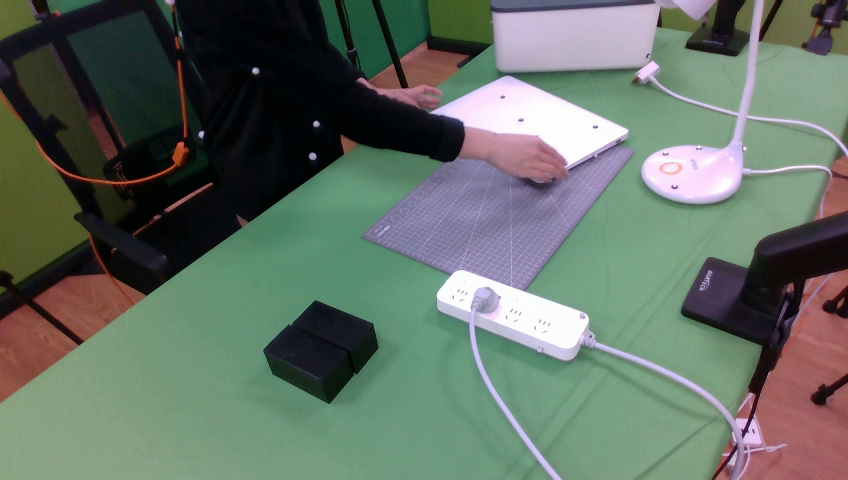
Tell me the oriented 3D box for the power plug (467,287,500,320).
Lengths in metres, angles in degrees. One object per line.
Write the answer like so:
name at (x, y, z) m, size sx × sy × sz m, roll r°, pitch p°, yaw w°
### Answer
power plug at (0.073, 0.092, 0.814) m, size 0.035 × 0.053 × 0.073 m, roll 29°, pitch 54°, yaw 34°

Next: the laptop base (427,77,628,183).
laptop base at (0.199, -0.229, 1.222) m, size 0.236 × 0.023 × 0.351 m, roll -31°, pitch 45°, yaw -22°

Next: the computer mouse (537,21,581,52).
computer mouse at (0.335, -0.503, 1.487) m, size 0.118 × 0.041 × 0.062 m, roll 22°, pitch 19°, yaw -28°

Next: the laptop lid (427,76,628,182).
laptop lid at (0.196, -0.237, 1.213) m, size 0.242 × 0.013 × 0.353 m, roll -29°, pitch 44°, yaw -21°

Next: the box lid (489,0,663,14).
box lid at (0.340, -0.575, 1.380) m, size 0.371 × 0.015 × 0.262 m, roll 0°, pitch 41°, yaw 9°

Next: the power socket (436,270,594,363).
power socket at (0.118, 0.101, 0.832) m, size 0.225 × 0.033 × 0.072 m, roll 19°, pitch 48°, yaw 27°

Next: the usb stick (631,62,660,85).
usb stick at (0.480, -0.358, 1.317) m, size 0.059 × 0.022 × 0.027 m, roll -35°, pitch 56°, yaw 14°

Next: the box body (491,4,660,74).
box body at (0.346, -0.520, 1.429) m, size 0.363 × 0.161 × 0.253 m, roll 0°, pitch 41°, yaw 9°

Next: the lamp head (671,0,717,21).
lamp head at (0.375, -0.373, 0.807) m, size 0.122 × 0.113 × 0.112 m, roll -40°, pitch 27°, yaw 32°

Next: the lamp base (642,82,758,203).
lamp base at (0.464, -0.174, 0.992) m, size 0.179 × 0.181 × 0.159 m, roll -5°, pitch 41°, yaw -1°
